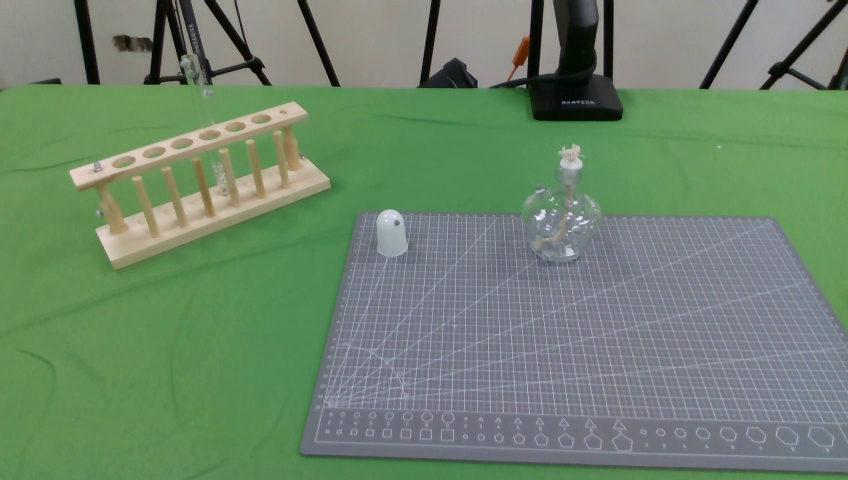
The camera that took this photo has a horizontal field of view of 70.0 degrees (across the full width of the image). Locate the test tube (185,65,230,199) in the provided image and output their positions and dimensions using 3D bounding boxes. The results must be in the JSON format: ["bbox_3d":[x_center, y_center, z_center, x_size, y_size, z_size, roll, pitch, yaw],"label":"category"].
[{"bbox_3d":[-0.226,-0.110,0.642,0.017,0.151,0.017,-2,34,2],"label":"test tube"}]

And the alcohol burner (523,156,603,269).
[{"bbox_3d":[0.135,-0.030,0.583,0.078,0.120,0.077,0,40,0],"label":"alcohol burner"}]

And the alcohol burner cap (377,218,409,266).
[{"bbox_3d":[-0.032,-0.001,0.609,0.034,0.048,0.033,-1,39,1],"label":"alcohol burner cap"}]

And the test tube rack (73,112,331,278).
[{"bbox_3d":[-0.227,-0.055,0.653,0.243,0.086,0.066,-25,44,-26],"label":"test tube rack"}]
